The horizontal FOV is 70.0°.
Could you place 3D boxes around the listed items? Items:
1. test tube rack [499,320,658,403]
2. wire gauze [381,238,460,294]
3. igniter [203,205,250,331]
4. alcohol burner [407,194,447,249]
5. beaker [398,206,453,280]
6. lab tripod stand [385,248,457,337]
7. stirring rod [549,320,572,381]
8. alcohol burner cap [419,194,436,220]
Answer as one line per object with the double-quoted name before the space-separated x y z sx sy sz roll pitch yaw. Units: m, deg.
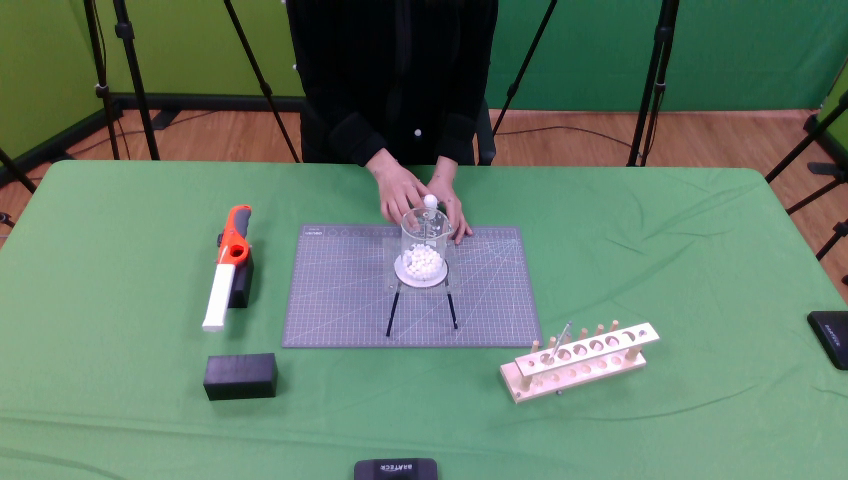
"test tube rack" 0.252 0.187 0.994 0.243 0.085 0.066 -12 48 -15
"wire gauze" -0.007 0.042 0.985 0.125 0.011 0.120 -1 43 -2
"igniter" -0.345 0.039 1.065 0.057 0.025 0.274 2 48 -6
"alcohol burner" 0.006 -0.040 1.170 0.078 0.120 0.077 1 46 -1
"beaker" 0.000 0.008 0.950 0.084 0.101 0.073 10 45 6
"lab tripod stand" -0.010 0.087 1.032 0.148 0.132 0.147 1 45 -1
"stirring rod" 0.202 0.167 0.901 0.006 0.177 0.014 -17 55 -11
"alcohol burner cap" 0.008 -0.065 1.143 0.034 0.048 0.033 4 45 -4
